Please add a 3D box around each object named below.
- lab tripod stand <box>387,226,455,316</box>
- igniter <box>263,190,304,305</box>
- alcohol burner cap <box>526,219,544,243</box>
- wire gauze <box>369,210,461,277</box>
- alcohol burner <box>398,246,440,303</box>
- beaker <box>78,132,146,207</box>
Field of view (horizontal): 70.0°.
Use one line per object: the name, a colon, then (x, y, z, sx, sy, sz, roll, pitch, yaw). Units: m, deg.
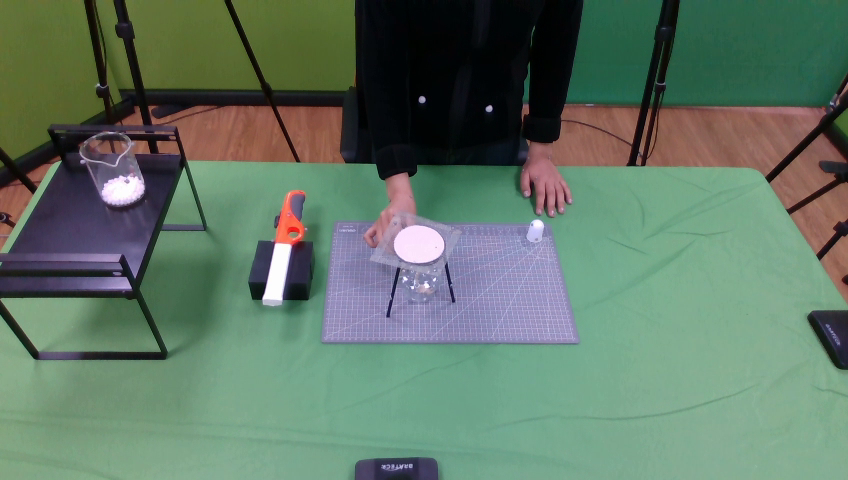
lab tripod stand: (-0.013, 0.054, 1.064, 0.148, 0.132, 0.147, 2, 48, -2)
igniter: (-0.255, 0.004, 1.107, 0.057, 0.025, 0.274, 6, 46, -7)
alcohol burner cap: (0.225, -0.021, 1.218, 0.034, 0.048, 0.033, 1, 46, -1)
wire gauze: (-0.013, 0.005, 1.017, 0.121, 0.011, 0.124, 17, 49, 12)
alcohol burner: (-0.008, 0.056, 1.077, 0.078, 0.119, 0.077, 3, 44, -2)
beaker: (-0.488, -0.108, 0.961, 0.074, 0.101, 0.083, -25, 54, -25)
